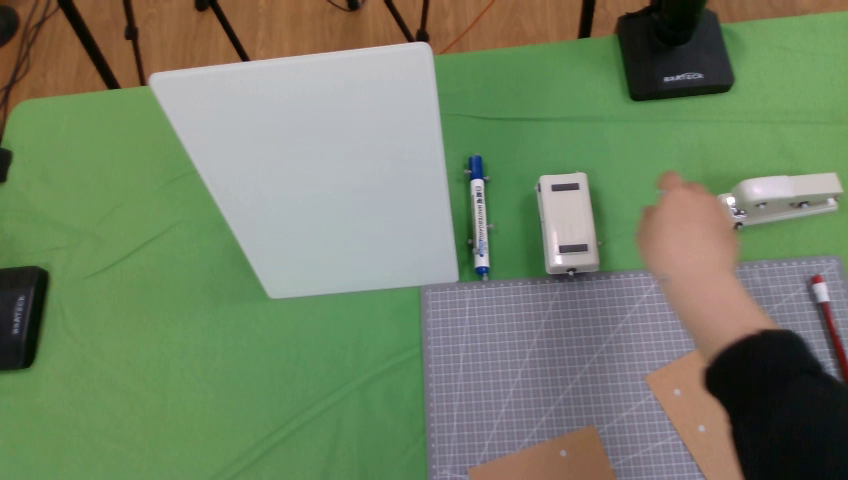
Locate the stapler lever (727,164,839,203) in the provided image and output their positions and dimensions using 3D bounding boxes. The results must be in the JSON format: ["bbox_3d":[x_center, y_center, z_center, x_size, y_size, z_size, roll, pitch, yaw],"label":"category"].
[{"bbox_3d":[0.382,-0.062,0.641,0.118,0.040,0.026,-10,71,1],"label":"stapler lever"}]

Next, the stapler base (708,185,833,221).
[{"bbox_3d":[0.382,-0.053,0.663,0.130,0.024,0.041,-10,72,0],"label":"stapler base"}]

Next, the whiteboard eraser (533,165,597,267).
[{"bbox_3d":[0.153,-0.026,0.666,0.055,0.042,0.112,-5,70,4],"label":"whiteboard eraser"}]

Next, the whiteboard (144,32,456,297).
[{"bbox_3d":[-0.088,-0.095,0.605,0.217,0.308,0.142,-5,51,4],"label":"whiteboard"}]

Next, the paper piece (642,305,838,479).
[{"bbox_3d":[0.311,0.155,0.603,0.136,0.009,0.137,-27,72,0],"label":"paper piece"}]

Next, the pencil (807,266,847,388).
[{"bbox_3d":[0.417,0.118,0.604,0.012,0.012,0.192,-9,72,3],"label":"pencil"}]

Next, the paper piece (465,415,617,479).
[{"bbox_3d":[0.125,0.256,0.585,0.135,0.004,0.134,-19,72,-3],"label":"paper piece"}]

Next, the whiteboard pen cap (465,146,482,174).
[{"bbox_3d":[0.058,-0.092,0.710,0.018,0.018,0.033,-6,68,4],"label":"whiteboard pen cap"}]

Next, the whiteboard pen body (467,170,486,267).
[{"bbox_3d":[0.059,-0.037,0.691,0.017,0.017,0.140,-4,70,5],"label":"whiteboard pen body"}]
